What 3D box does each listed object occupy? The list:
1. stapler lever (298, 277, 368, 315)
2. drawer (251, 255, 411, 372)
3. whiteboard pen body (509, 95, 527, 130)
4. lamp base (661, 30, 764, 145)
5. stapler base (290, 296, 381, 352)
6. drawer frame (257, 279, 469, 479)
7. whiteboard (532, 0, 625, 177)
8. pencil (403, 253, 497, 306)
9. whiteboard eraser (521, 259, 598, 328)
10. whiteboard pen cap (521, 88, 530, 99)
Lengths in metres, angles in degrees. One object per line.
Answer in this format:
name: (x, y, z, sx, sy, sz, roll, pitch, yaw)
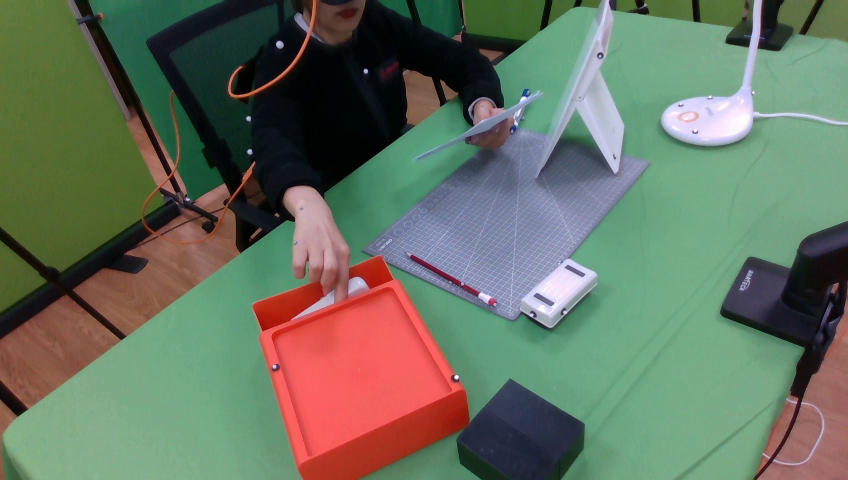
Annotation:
stapler lever: (-0.130, 0.090, 0.829, 0.118, 0.040, 0.026, -26, 37, -17)
drawer: (-0.105, 0.135, 0.798, 0.195, 0.073, 0.210, -20, 42, -14)
whiteboard pen body: (0.199, -0.273, 1.261, 0.017, 0.017, 0.140, 8, 45, 19)
lamp base: (0.535, -0.287, 1.096, 0.179, 0.181, 0.159, -10, 40, -4)
stapler base: (-0.125, 0.109, 0.845, 0.131, 0.024, 0.041, -25, 37, -17)
drawer frame: (-0.080, 0.169, 0.751, 0.202, 0.083, 0.211, -21, 42, -15)
whiteboard: (0.321, -0.258, 1.050, 0.144, 0.306, 0.217, 21, 45, 5)
pencil: (0.034, 0.056, 0.914, 0.192, 0.012, 0.012, 27, 52, 38)
whiteboard eraser: (0.189, 0.076, 0.843, 0.055, 0.042, 0.113, 29, 53, 37)
whiteboard pen cap: (0.219, -0.312, 1.301, 0.018, 0.018, 0.033, 6, 47, 17)
